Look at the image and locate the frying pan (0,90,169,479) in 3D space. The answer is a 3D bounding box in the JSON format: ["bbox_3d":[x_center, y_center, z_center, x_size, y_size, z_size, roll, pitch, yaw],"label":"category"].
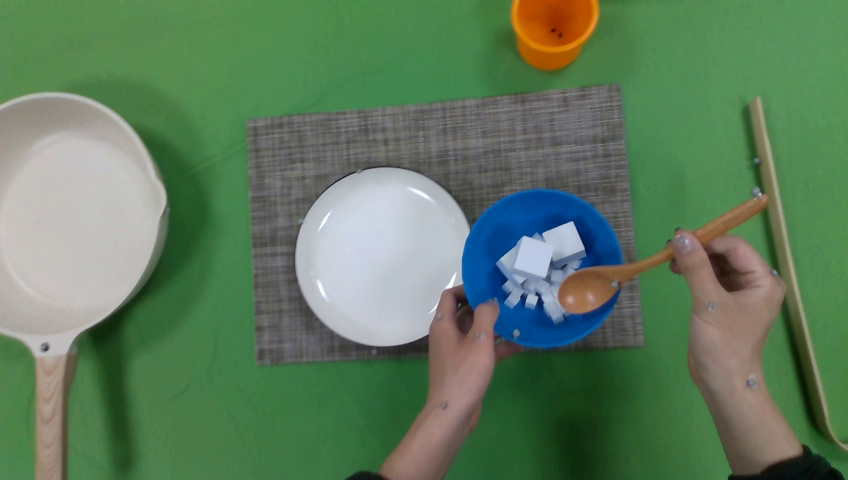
[{"bbox_3d":[-0.431,0.072,0.707,0.306,0.103,0.485,-7,77,7],"label":"frying pan"}]

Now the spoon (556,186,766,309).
[{"bbox_3d":[0.183,0.011,0.490,0.042,0.021,0.194,45,136,-8],"label":"spoon"}]

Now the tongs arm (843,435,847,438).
[{"bbox_3d":[0.478,0.020,0.639,0.050,0.026,0.384,3,87,8],"label":"tongs arm"}]

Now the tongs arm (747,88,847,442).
[{"bbox_3d":[0.398,0.024,0.653,0.028,0.028,0.386,-10,85,4],"label":"tongs arm"}]

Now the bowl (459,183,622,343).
[{"bbox_3d":[0.111,0.027,0.597,0.151,0.077,0.151,-1,80,6],"label":"bowl"}]

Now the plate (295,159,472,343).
[{"bbox_3d":[-0.042,0.013,0.696,0.207,0.039,0.207,-1,86,7],"label":"plate"}]
